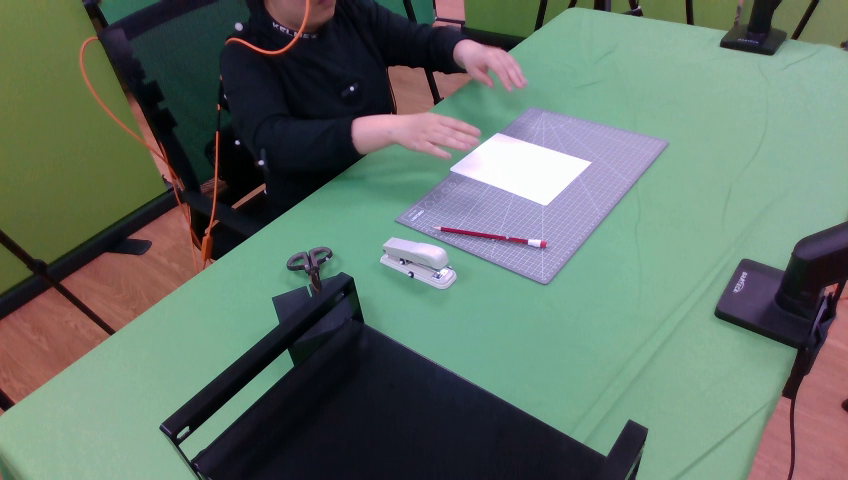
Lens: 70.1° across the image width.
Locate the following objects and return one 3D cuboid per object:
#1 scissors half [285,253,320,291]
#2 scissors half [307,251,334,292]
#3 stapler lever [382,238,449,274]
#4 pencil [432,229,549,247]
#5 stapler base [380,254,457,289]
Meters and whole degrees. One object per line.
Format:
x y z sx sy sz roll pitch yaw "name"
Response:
-0.179 0.049 0.909 0.040 0.013 0.174 -15 19 -20 "scissors half"
-0.159 0.046 0.913 0.040 0.013 0.174 -4 17 -4 "scissors half"
-0.014 0.018 0.919 0.117 0.040 0.027 21 45 31 "stapler lever"
0.103 -0.005 0.970 0.193 0.012 0.012 7 42 18 "pencil"
-0.010 0.037 0.934 0.129 0.024 0.041 20 45 31 "stapler base"
